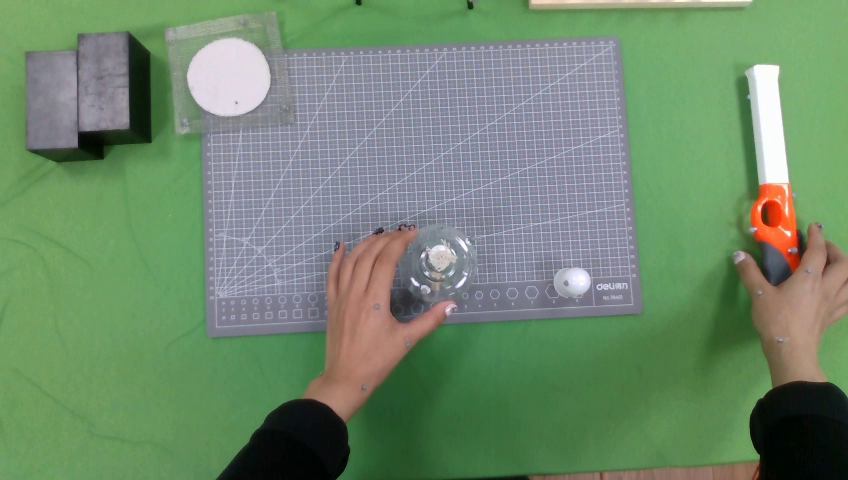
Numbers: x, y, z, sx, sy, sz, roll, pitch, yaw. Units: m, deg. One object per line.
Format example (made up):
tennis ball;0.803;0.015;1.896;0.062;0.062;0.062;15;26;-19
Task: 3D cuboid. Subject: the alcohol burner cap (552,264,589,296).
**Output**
alcohol burner cap;0.151;0.040;0.615;0.034;0.048;0.034;0;83;-1

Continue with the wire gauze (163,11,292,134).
wire gauze;-0.209;-0.177;0.640;0.125;0.011;0.121;-9;84;-2

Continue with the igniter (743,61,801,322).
igniter;0.366;-0.053;0.639;0.057;0.025;0.276;-1;85;-13

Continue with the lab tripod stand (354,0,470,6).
lab tripod stand;-0.013;-0.303;0.597;0.148;0.132;0.148;0;84;0

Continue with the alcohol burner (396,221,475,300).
alcohol burner;0.012;0.018;0.577;0.078;0.119;0.077;0;83;-2

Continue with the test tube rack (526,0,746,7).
test tube rack;0.232;-0.295;0.627;0.242;0.085;0.066;-2;85;-1
